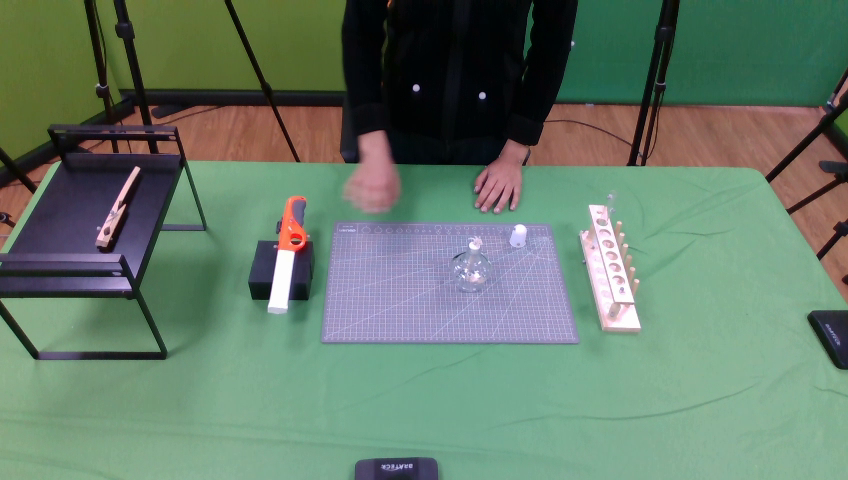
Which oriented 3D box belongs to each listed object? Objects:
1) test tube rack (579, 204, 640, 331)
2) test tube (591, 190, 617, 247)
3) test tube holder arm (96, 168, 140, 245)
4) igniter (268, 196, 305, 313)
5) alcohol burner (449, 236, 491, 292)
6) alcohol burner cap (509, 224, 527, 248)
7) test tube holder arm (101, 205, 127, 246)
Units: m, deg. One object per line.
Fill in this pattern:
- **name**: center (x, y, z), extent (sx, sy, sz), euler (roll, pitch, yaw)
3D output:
- **test tube rack**: center (0.353, 0.047, 1.137), extent (0.067, 0.085, 0.241), euler (2, 46, -2)
- **test tube**: center (0.340, -0.038, 1.149), extent (0.017, 0.151, 0.017), euler (1, 50, -1)
- **test tube holder arm**: center (-0.486, -0.058, 0.968), extent (0.013, 0.015, 0.177), euler (27, 37, -27)
- **igniter**: center (-0.248, 0.016, 1.095), extent (0.057, 0.025, 0.274), euler (8, 46, -12)
- **alcohol burner**: center (0.086, 0.038, 1.101), extent (0.078, 0.119, 0.077), euler (3, 44, -2)
- **alcohol burner cap**: center (0.189, -0.011, 1.206), extent (0.034, 0.048, 0.033), euler (2, 46, -1)
- **test tube holder arm**: center (-0.480, -0.025, 0.938), extent (0.010, 0.015, 0.087), euler (27, 37, -26)
